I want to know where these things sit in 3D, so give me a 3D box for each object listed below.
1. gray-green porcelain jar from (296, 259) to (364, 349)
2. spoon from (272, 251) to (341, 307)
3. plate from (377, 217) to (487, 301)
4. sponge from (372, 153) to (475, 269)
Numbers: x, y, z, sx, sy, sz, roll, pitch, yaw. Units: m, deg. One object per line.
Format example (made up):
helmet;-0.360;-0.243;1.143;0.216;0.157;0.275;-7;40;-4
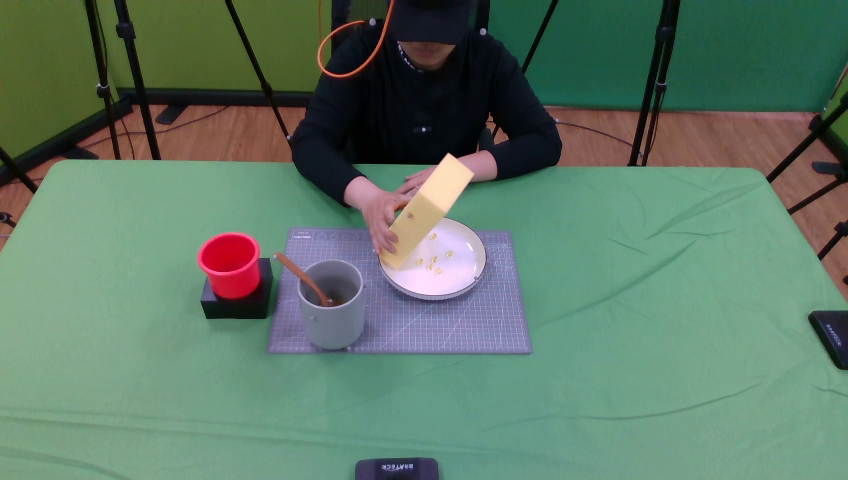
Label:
gray-green porcelain jar;-0.152;0.111;1.003;0.106;0.127;0.105;2;46;-2
spoon;-0.180;0.077;0.982;0.021;0.195;0.041;-9;46;28
plate;0.015;0.037;1.147;0.208;0.039;0.206;2;46;-2
sponge;-0.004;-0.048;1.086;0.061;0.207;0.118;38;49;-4
